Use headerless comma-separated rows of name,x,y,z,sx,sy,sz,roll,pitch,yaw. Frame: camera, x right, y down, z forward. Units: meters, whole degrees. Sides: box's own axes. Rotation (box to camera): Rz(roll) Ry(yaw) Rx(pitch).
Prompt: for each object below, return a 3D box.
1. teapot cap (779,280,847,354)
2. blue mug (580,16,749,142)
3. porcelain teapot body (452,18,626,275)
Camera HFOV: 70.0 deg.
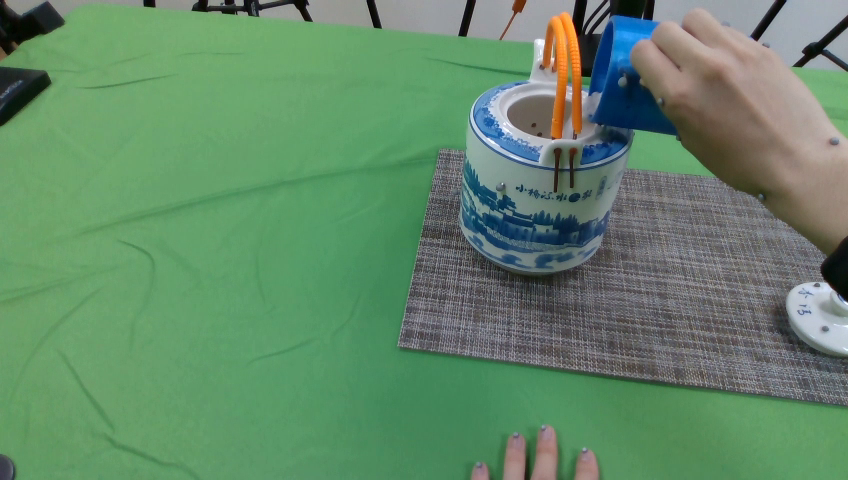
teapot cap,0.364,0.063,0.540,0.085,0.044,0.084,3,42,-3
blue mug,0.182,-0.123,0.461,0.106,0.082,0.116,10,12,3
porcelain teapot body,0.104,-0.105,0.569,0.145,0.227,0.203,2,43,-2
